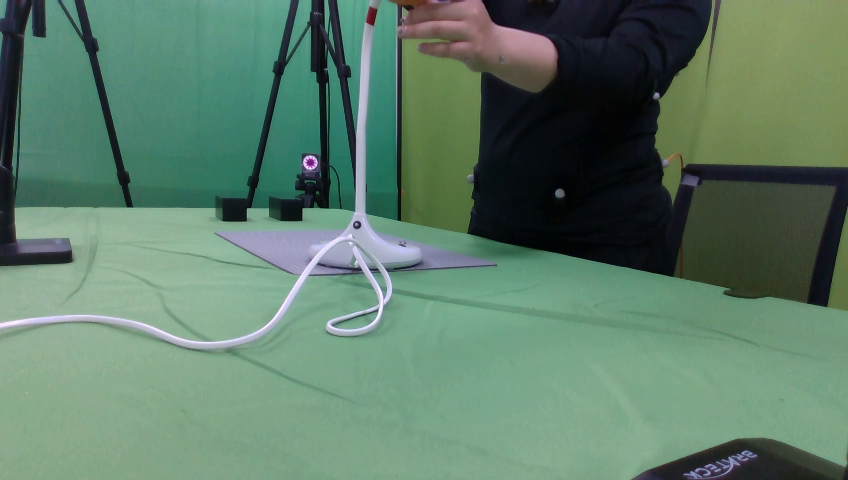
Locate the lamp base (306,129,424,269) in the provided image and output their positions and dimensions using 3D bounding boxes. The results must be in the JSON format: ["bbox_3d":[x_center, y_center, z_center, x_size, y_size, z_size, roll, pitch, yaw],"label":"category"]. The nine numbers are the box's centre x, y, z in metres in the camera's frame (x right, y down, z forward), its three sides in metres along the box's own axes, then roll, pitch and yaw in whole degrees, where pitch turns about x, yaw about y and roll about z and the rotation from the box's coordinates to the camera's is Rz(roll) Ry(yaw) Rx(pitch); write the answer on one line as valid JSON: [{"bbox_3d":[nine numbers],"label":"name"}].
[{"bbox_3d":[-0.077,-0.057,0.810,0.161,0.180,0.179,2,10,-4],"label":"lamp base"}]

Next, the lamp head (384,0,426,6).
[{"bbox_3d":[-0.024,-0.326,0.672,0.112,0.123,0.112,4,3,0],"label":"lamp head"}]
